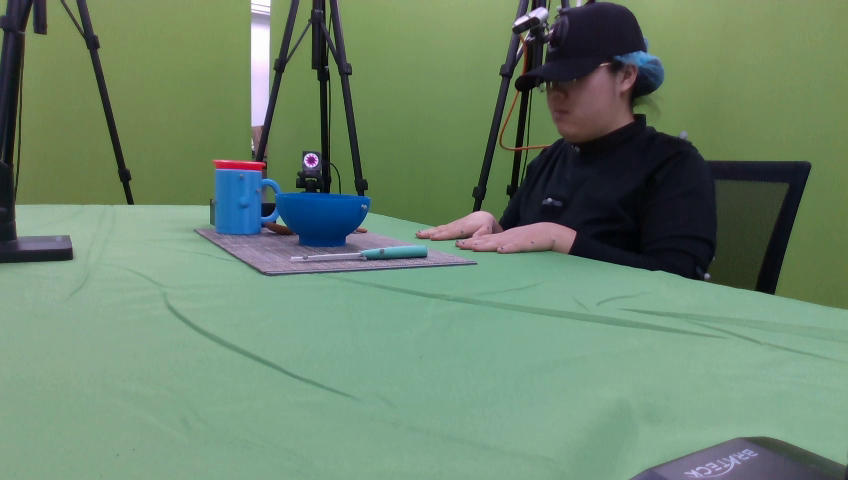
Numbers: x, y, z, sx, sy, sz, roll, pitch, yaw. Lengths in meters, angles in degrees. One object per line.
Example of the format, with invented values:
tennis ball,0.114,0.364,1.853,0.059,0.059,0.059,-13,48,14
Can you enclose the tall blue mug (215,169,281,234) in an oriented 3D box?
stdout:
tall blue mug,-0.313,-0.069,1.061,0.077,0.108,0.108,6,8,31

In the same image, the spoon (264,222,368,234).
spoon,-0.191,-0.023,1.090,0.195,0.021,0.041,-2,-9,-29

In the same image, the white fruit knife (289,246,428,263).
white fruit knife,-0.082,0.022,0.822,0.208,0.016,0.027,-3,-20,-30

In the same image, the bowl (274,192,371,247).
bowl,-0.161,-0.033,0.959,0.151,0.077,0.151,3,7,0
